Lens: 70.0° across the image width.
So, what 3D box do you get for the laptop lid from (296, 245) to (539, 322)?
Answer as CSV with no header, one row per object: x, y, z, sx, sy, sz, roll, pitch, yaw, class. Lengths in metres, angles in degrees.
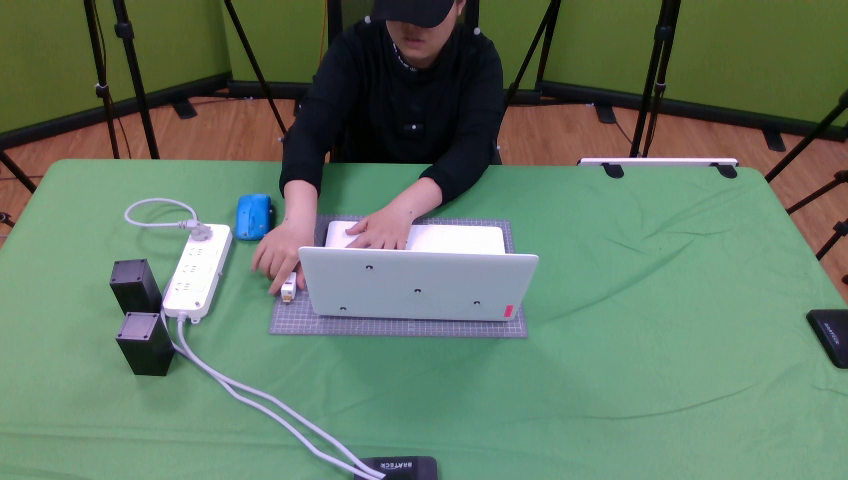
-0.013,0.076,0.962,0.357,0.243,0.013,3,58,-4,laptop lid

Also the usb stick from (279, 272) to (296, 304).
-0.246,0.088,1.086,0.021,0.027,0.059,-3,49,3,usb stick

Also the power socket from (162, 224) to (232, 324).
-0.411,0.052,1.107,0.072,0.033,0.225,4,45,-2,power socket

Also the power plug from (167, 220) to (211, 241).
-0.438,-0.017,1.143,0.072,0.053,0.035,9,43,6,power plug

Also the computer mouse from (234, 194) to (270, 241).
-0.342,-0.049,1.208,0.063,0.041,0.116,-1,51,-8,computer mouse

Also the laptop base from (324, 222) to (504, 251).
-0.018,0.055,1.144,0.354,0.023,0.234,2,42,-2,laptop base
